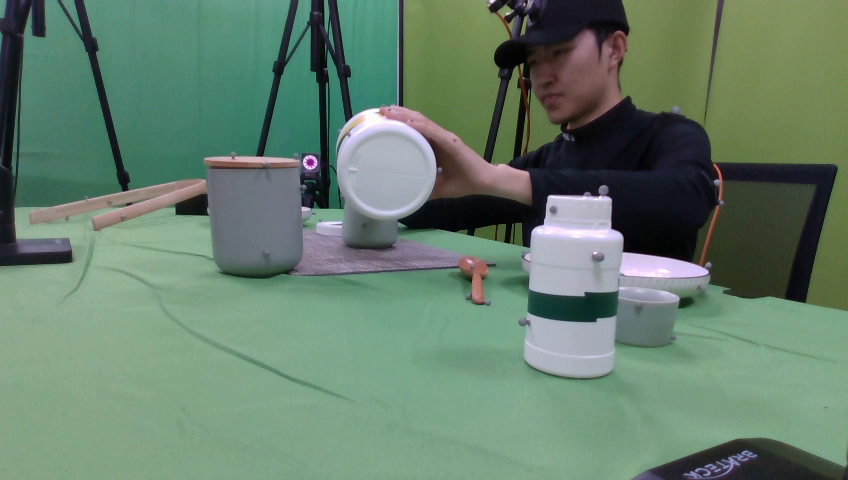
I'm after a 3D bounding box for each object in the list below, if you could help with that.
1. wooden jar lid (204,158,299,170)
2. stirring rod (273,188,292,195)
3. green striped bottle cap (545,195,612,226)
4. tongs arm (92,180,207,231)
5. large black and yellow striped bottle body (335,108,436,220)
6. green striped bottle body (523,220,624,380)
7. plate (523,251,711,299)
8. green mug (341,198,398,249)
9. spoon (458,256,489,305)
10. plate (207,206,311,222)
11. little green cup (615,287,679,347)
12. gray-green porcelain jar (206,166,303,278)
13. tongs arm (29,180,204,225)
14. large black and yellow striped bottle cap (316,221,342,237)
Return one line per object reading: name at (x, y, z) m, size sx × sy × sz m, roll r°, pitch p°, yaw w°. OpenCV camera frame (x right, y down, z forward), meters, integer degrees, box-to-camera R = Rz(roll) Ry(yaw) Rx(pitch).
wooden jar lid at (-0.202, -0.086, 0.714) m, size 0.108 × 0.020 × 0.108 m, roll 3°, pitch 10°, yaw 0°
stirring rod at (-0.354, -0.122, 1.519) m, size 0.006 × 0.014 × 0.176 m, roll 2°, pitch 6°, yaw 1°
green striped bottle cap at (0.106, -0.020, 0.414) m, size 0.044 × 0.020 × 0.044 m, roll 2°, pitch 4°, yaw 0°
tongs arm at (-0.534, -0.076, 1.221) m, size 0.028 × 0.028 × 0.388 m, roll -2°, pitch 15°, yaw 12°
large black and yellow striped bottle body at (-0.059, -0.114, 0.848) m, size 0.131 × 0.130 × 0.183 m, roll 1°, pitch 19°, yaw -10°
green striped bottle body at (0.104, 0.031, 0.422) m, size 0.063 × 0.119 × 0.063 m, roll 2°, pitch 7°, yaw 0°
plate at (0.219, 0.041, 0.706) m, size 0.209 × 0.038 × 0.209 m, roll 2°, pitch 7°, yaw 0°
green mug at (-0.090, -0.044, 0.996) m, size 0.093 × 0.105 × 0.125 m, roll 1°, pitch 8°, yaw -10°
spoon at (0.059, 0.043, 0.695) m, size 0.041 × 0.021 × 0.194 m, roll 19°, pitch 7°, yaw 0°
plate at (-0.342, -0.050, 1.259) m, size 0.208 × 0.039 × 0.207 m, roll 2°, pitch 7°, yaw 0°
little green cup at (0.180, 0.064, 0.506) m, size 0.061 × 0.038 × 0.061 m, roll 2°, pitch 8°, yaw 0°
gray-green porcelain jar at (-0.201, -0.024, 0.724) m, size 0.106 × 0.126 × 0.106 m, roll -1°, pitch 9°, yaw 1°
tongs arm at (-0.609, -0.083, 1.245) m, size 0.050 × 0.026 × 0.386 m, roll 5°, pitch 16°, yaw 23°
large black and yellow striped bottle cap at (-0.147, -0.021, 1.148) m, size 0.115 × 0.019 × 0.115 m, roll 2°, pitch 9°, yaw 0°
